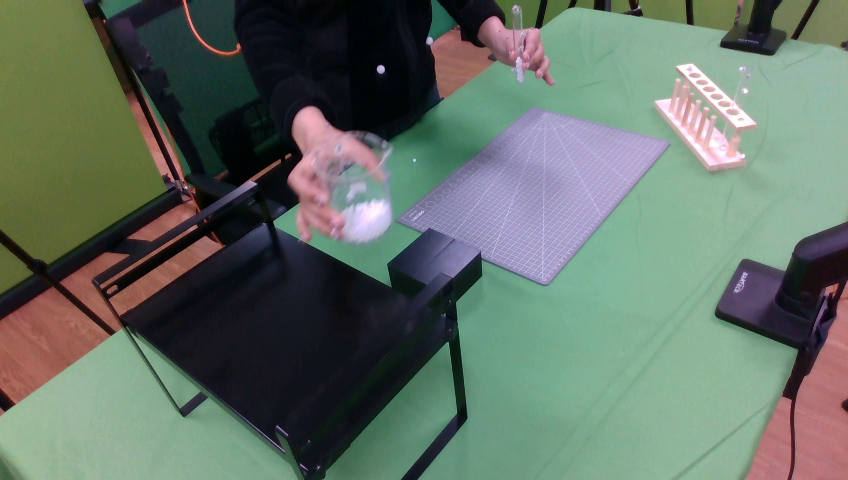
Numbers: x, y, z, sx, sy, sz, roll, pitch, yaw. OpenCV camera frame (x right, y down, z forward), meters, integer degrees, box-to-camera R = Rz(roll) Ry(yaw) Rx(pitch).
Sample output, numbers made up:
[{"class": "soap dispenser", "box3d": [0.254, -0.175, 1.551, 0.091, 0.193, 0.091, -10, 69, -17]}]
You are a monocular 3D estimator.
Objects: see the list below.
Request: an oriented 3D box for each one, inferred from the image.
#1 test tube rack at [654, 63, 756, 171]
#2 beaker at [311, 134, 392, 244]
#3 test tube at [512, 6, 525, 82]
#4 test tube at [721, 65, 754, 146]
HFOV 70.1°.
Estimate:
[{"class": "test tube rack", "box3d": [0.511, -0.233, 1.120, 0.067, 0.085, 0.241, -8, 41, -1]}, {"class": "beaker", "box3d": [-0.071, -0.052, 0.643, 0.084, 0.100, 0.073, -16, 49, -12]}, {"class": "test tube", "box3d": [0.155, -0.314, 0.985, 0.017, 0.151, 0.017, -5, 58, 9]}, {"class": "test tube", "box3d": [0.534, -0.226, 1.032, 0.017, 0.151, 0.017, -2, 40, 2]}]
